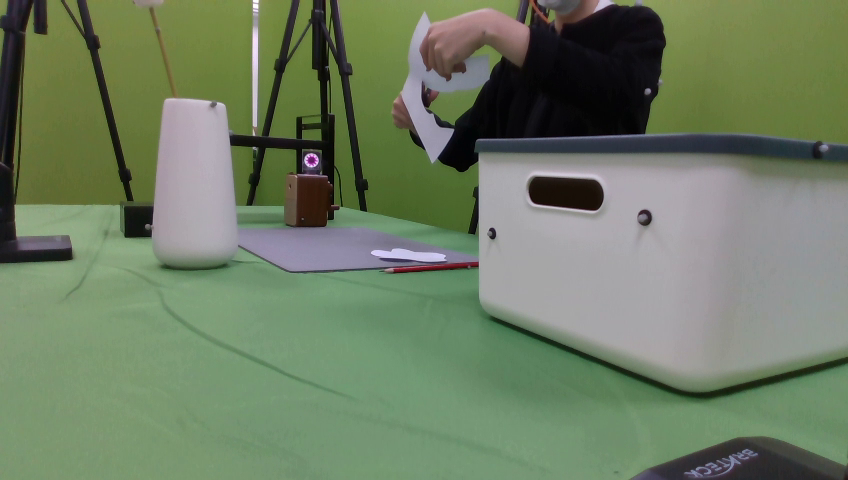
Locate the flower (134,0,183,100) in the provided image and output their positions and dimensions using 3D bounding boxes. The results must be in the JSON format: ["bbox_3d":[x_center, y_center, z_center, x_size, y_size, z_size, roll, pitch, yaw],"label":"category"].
[{"bbox_3d":[-0.282,-0.147,0.713,0.038,0.362,0.044,-23,24,-31],"label":"flower"}]

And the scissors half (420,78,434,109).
[{"bbox_3d":[0.003,-0.272,1.101,0.013,0.040,0.175,20,5,5],"label":"scissors half"}]

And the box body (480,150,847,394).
[{"bbox_3d":[0.254,0.001,0.539,0.366,0.160,0.253,-2,9,-31],"label":"box body"}]

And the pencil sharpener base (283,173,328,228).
[{"bbox_3d":[-0.239,-0.081,1.231,0.077,0.107,0.061,-2,8,-36],"label":"pencil sharpener base"}]

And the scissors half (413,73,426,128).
[{"bbox_3d":[-0.005,-0.252,1.098,0.013,0.040,0.175,25,-20,5],"label":"scissors half"}]

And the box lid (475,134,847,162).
[{"bbox_3d":[0.256,-0.073,0.528,0.373,0.015,0.262,-2,8,-31],"label":"box lid"}]

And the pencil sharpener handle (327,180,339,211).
[{"bbox_3d":[-0.194,-0.094,1.256,0.031,0.067,0.036,-2,-6,-36],"label":"pencil sharpener handle"}]

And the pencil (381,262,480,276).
[{"bbox_3d":[0.030,0.037,0.794,0.195,0.012,0.012,-4,10,-31],"label":"pencil"}]

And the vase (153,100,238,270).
[{"bbox_3d":[-0.278,-0.066,0.736,0.098,0.200,0.098,2,9,0],"label":"vase"}]
